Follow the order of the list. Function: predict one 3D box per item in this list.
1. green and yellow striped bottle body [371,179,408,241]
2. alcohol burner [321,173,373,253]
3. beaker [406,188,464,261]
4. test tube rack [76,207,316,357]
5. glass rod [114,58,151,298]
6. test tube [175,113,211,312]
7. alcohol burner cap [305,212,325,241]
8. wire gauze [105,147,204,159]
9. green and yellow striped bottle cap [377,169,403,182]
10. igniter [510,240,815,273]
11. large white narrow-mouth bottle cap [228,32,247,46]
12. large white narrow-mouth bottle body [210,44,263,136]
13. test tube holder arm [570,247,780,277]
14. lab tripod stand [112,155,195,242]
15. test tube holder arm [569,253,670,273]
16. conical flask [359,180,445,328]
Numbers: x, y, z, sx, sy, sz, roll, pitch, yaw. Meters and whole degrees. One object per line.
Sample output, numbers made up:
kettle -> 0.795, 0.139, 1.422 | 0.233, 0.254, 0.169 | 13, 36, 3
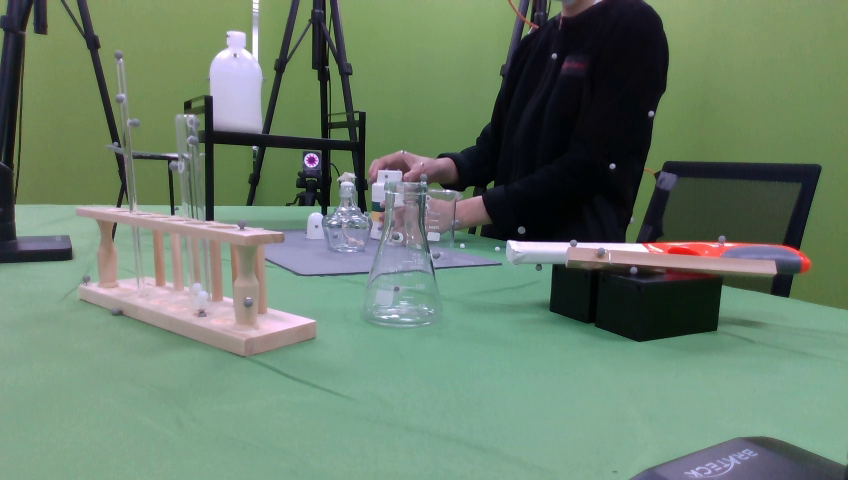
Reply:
green and yellow striped bottle body -> -0.061, -0.061, 1.058 | 0.063, 0.119, 0.063 | 2, 7, 0
alcohol burner -> -0.115, -0.041, 0.905 | 0.078, 0.119, 0.078 | 1, 6, 0
beaker -> 0.014, -0.023, 0.870 | 0.084, 0.100, 0.074 | 3, 8, -4
test tube rack -> -0.196, 0.023, 0.500 | 0.241, 0.085, 0.067 | 8, 9, 36
glass rod -> -0.236, -0.044, 0.492 | 0.008, 0.199, 0.008 | 0, 15, 0
test tube -> -0.174, -0.020, 0.458 | 0.017, 0.150, 0.017 | -3, 5, 1
alcohol burner cap -> -0.185, -0.023, 1.027 | 0.034, 0.048, 0.034 | 2, 7, 0
wire gauze -> -0.407, -0.131, 0.928 | 0.125, 0.011, 0.121 | 2, 6, -11
green and yellow striped bottle cap -> -0.059, -0.112, 1.050 | 0.045, 0.020, 0.045 | 5, 5, 0
igniter -> 0.220, 0.015, 0.565 | 0.277, 0.025, 0.057 | 2, 16, 0
large white narrow-mouth bottle cap -> -0.364, -0.390, 1.180 | 0.038, 0.024, 0.037 | 3, 8, 0
large white narrow-mouth bottle body -> -0.369, -0.305, 1.194 | 0.102, 0.194, 0.102 | 3, 8, 0
test tube holder arm -> 0.217, 0.019, 0.525 | 0.178, 0.015, 0.013 | 3, -23, 3
lab tripod stand -> -0.405, -0.064, 0.931 | 0.148, 0.131, 0.148 | 1, 6, 0
test tube holder arm -> 0.172, 0.019, 0.532 | 0.088, 0.015, 0.010 | 3, -23, 3
conical flask -> -0.017, 0.010, 0.522 | 0.075, 0.122, 0.075 | 2, 7, 0
